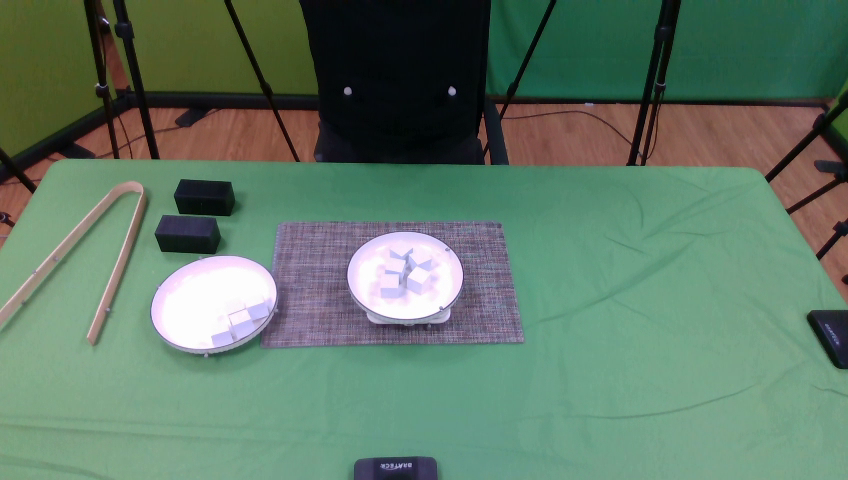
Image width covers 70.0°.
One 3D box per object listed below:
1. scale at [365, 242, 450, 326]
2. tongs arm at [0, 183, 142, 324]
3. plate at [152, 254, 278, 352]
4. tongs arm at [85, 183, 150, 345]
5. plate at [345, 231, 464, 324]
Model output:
[{"bbox_3d":[-0.032,0.071,1.113,0.149,0.032,0.199,0,46,-4],"label":"scale"},{"bbox_3d":[-0.648,0.017,1.121,0.051,0.026,0.383,11,45,6],"label":"tongs arm"},{"bbox_3d":[-0.357,0.111,1.052,0.208,0.039,0.206,2,46,-2],"label":"plate"},{"bbox_3d":[-0.561,0.029,1.121,0.028,0.028,0.385,-3,46,-2],"label":"tongs arm"},{"bbox_3d":[-0.034,0.069,1.069,0.209,0.038,0.208,2,46,-2],"label":"plate"}]
